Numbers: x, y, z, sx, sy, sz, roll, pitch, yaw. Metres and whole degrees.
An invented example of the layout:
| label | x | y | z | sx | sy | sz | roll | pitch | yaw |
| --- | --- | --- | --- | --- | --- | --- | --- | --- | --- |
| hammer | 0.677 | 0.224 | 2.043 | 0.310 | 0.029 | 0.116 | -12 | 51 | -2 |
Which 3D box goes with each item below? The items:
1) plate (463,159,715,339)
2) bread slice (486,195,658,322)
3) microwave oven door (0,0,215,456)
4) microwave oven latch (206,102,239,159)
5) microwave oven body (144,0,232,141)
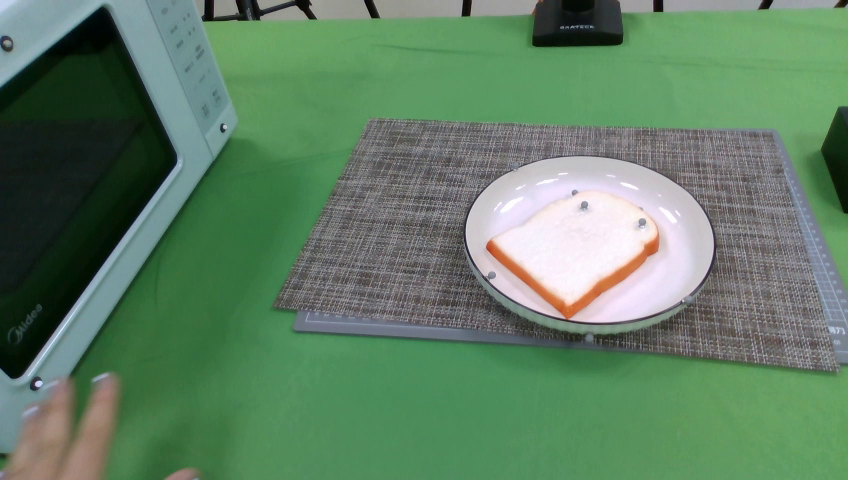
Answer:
| label | x | y | z | sx | sy | sz | roll | pitch | yaw |
| --- | --- | --- | --- | --- | --- | --- | --- | --- | --- |
| plate | 0.138 | 0.005 | 0.528 | 0.209 | 0.038 | 0.207 | -4 | 44 | 5 |
| bread slice | 0.135 | 0.005 | 0.531 | 0.131 | 0.019 | 0.104 | -30 | 48 | -22 |
| microwave oven door | -0.292 | -0.049 | 0.477 | 0.039 | 0.246 | 0.353 | 2 | 44 | 11 |
| microwave oven latch | -0.241 | -0.127 | 0.700 | 0.030 | 0.030 | 0.078 | 4 | 46 | 12 |
| microwave oven body | -0.427 | -0.080 | 0.537 | 0.325 | 0.263 | 0.438 | 3 | 45 | 11 |
